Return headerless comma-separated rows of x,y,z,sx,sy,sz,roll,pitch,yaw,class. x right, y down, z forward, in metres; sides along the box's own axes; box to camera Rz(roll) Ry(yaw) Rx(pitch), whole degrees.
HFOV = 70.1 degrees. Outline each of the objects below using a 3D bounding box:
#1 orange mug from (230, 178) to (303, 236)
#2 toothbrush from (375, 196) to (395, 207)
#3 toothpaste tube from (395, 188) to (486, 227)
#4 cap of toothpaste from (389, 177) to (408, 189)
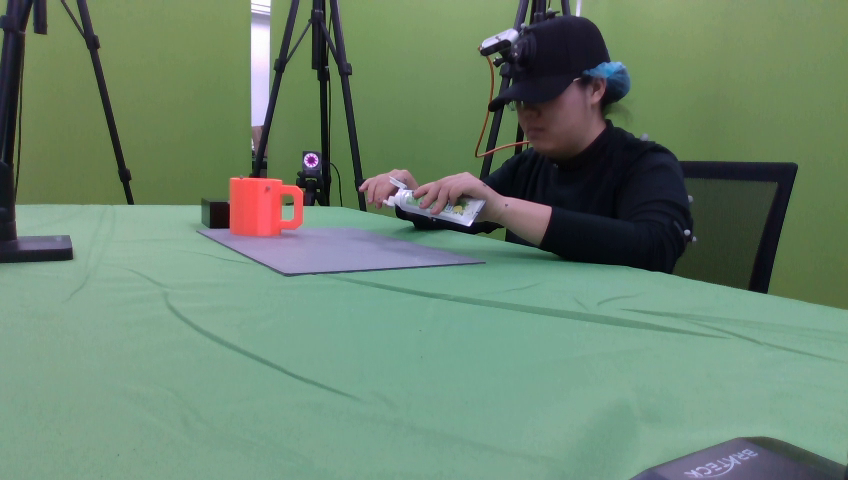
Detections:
-0.275,-0.060,1.058,0.126,0.101,0.083,-2,8,-5,orange mug
-0.070,-0.072,1.072,0.014,0.016,0.181,8,4,-12,toothbrush
0.018,-0.056,0.948,0.164,0.055,0.035,15,-24,38,toothpaste tube
-0.044,-0.093,1.002,0.037,0.011,0.037,27,8,-4,cap of toothpaste
